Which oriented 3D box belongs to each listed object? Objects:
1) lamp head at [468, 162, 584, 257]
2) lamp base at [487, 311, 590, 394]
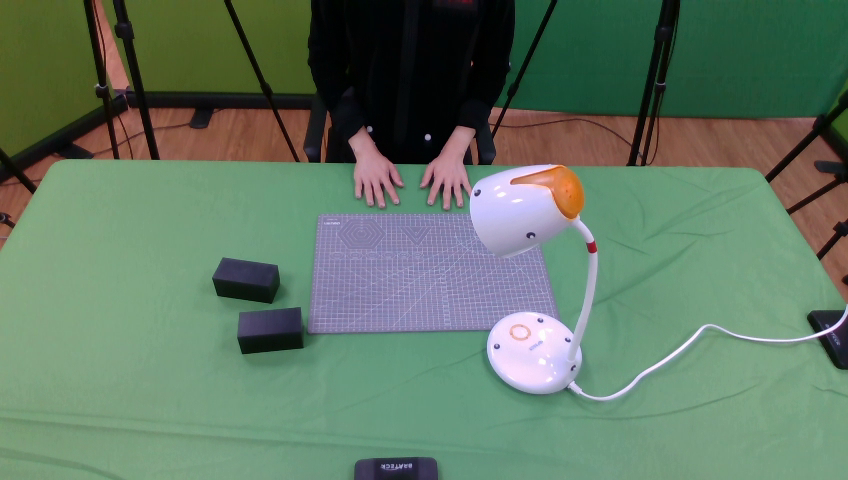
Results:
[{"bbox_3d":[0.136,-0.043,0.747,0.122,0.113,0.112,-15,30,42],"label":"lamp head"},{"bbox_3d":[0.199,0.142,0.962,0.178,0.181,0.160,38,56,24],"label":"lamp base"}]
